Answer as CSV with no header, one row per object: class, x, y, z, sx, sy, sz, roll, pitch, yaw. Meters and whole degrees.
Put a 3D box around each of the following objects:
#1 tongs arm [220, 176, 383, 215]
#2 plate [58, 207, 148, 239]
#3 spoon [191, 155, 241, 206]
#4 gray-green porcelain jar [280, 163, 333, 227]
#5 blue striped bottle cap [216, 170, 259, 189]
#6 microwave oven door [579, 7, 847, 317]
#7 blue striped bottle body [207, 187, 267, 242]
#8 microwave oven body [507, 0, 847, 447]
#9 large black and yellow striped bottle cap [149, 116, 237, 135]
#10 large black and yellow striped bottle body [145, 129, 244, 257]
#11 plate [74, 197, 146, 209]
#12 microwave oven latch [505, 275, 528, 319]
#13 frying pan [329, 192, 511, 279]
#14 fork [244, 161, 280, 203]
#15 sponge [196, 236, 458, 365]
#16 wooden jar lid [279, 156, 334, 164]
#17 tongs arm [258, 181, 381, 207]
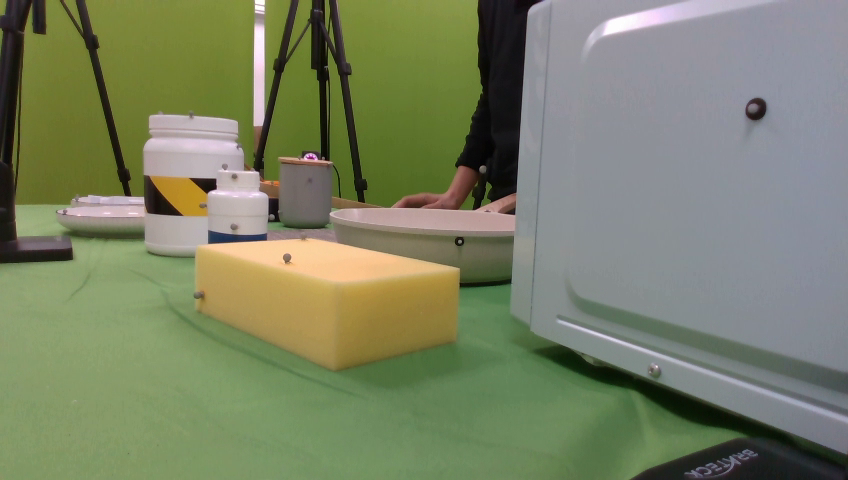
tongs arm,-0.285,-0.104,1.445,0.389,0.027,0.028,9,-4,-23
plate,-0.496,-0.030,1.022,0.209,0.038,0.209,2,8,0
spoon,-0.489,-0.136,1.418,0.041,0.021,0.194,2,-35,19
gray-green porcelain jar,-0.238,-0.092,1.221,0.106,0.126,0.106,2,7,0
blue striped bottle cap,-0.202,-0.066,0.654,0.044,0.020,0.044,0,5,0
microwave oven door,0.294,-0.067,0.570,0.358,0.243,0.039,-3,9,-31
blue striped bottle body,-0.204,-0.016,0.661,0.063,0.120,0.063,2,7,0
microwave oven body,0.331,-0.042,0.425,0.444,0.260,0.324,-2,8,-31
large black and yellow striped bottle cap,-0.319,-0.158,0.841,0.115,0.019,0.115,3,7,0
large black and yellow striped bottle body,-0.320,-0.075,0.851,0.131,0.184,0.130,2,8,0
plate,-0.596,-0.062,1.238,0.208,0.039,0.207,2,8,0
microwave oven latch,0.100,0.041,0.471,0.079,0.029,0.030,-1,7,-28
frying pan,0.071,-0.030,0.883,0.305,0.102,0.490,7,17,27
fork,-0.399,-0.144,1.489,0.028,0.018,0.208,23,-23,47
sponge,-0.087,0.039,0.500,0.206,0.061,0.119,8,9,44
wooden jar lid,-0.237,-0.154,1.213,0.108,0.020,0.108,6,9,-1
tongs arm,-0.241,-0.095,1.373,0.387,0.026,0.050,9,0,-37
